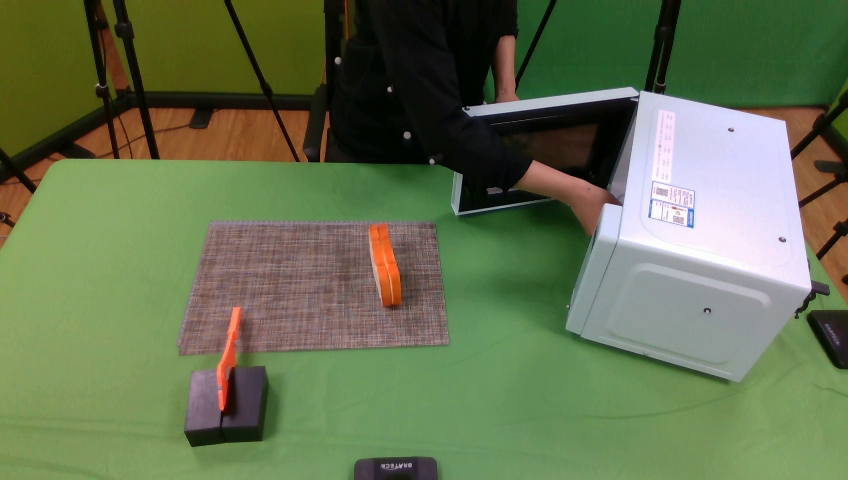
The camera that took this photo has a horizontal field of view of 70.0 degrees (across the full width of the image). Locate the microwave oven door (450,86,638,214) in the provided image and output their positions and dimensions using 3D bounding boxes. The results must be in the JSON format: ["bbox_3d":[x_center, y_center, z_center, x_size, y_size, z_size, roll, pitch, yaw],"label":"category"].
[{"bbox_3d":[0.234,-0.177,1.207,0.356,0.245,0.039,-10,48,-13],"label":"microwave oven door"}]

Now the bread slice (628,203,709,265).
[{"bbox_3d":[0.476,-0.019,1.171,0.134,0.018,0.106,-31,58,-17],"label":"bread slice"}]

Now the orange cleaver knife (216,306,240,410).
[{"bbox_3d":[-0.307,0.180,0.957,0.012,0.077,0.210,-2,25,-8],"label":"orange cleaver knife"}]

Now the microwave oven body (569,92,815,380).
[{"bbox_3d":[0.468,-0.022,1.082,0.325,0.261,0.440,15,46,11],"label":"microwave oven body"}]

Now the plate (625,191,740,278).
[{"bbox_3d":[0.485,-0.007,1.150,0.208,0.039,0.206,0,51,0],"label":"plate"}]

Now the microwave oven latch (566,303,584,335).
[{"bbox_3d":[0.268,0.126,1.059,0.030,0.029,0.079,16,46,12],"label":"microwave oven latch"}]
